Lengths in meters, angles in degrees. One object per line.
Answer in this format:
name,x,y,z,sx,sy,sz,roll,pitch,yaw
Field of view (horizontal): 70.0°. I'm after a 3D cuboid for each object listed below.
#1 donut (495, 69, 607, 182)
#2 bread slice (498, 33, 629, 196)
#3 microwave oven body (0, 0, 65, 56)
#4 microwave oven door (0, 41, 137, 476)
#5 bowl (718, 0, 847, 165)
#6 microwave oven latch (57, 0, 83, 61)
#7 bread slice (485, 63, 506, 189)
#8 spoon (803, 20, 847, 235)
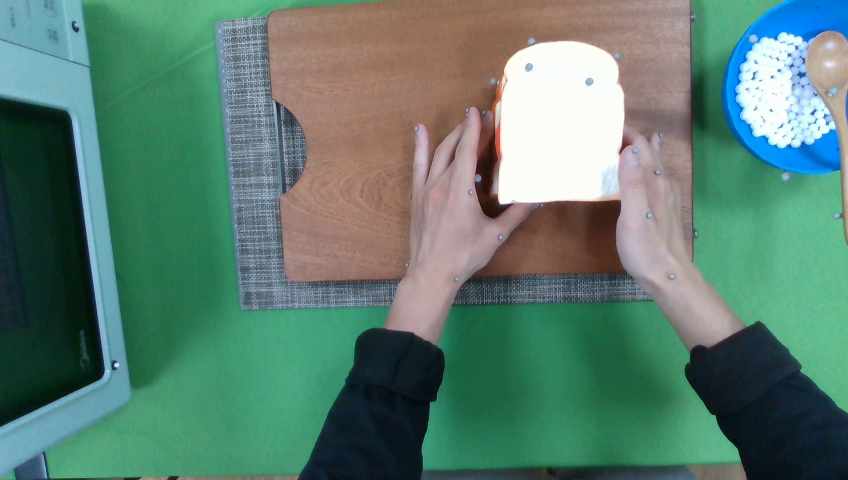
donut,0.111,-0.100,0.534,0.099,0.048,0.099,0,95,6
bread slice,0.111,-0.103,0.504,0.107,0.018,0.134,-4,91,3
microwave oven body,-0.505,-0.023,0.540,0.326,0.260,0.442,-5,96,6
microwave oven door,-0.356,0.007,0.523,0.039,0.243,0.356,-5,95,7
bowl,0.331,-0.141,0.539,0.151,0.077,0.151,1,96,6
microwave oven latch,-0.364,-0.220,0.602,0.030,0.029,0.079,-5,96,6
bread slice,0.110,-0.111,0.563,0.105,0.019,0.132,-1,97,0
spoon,0.351,-0.095,0.511,0.041,0.022,0.192,1,76,-3
